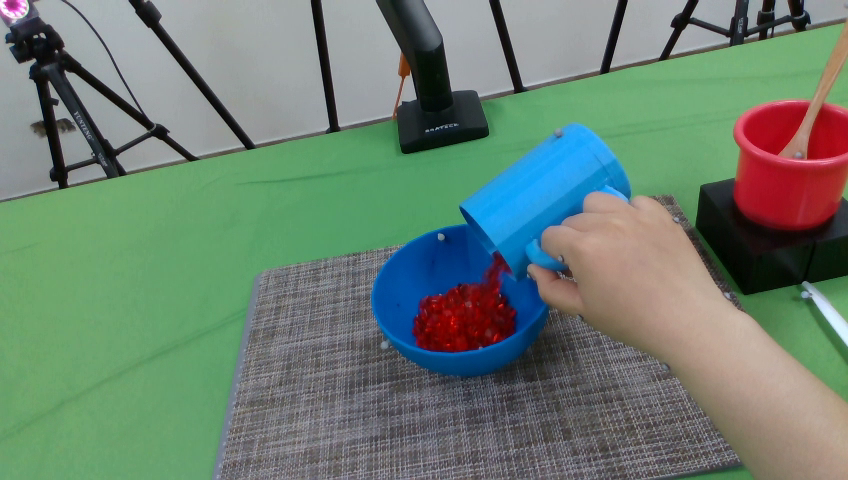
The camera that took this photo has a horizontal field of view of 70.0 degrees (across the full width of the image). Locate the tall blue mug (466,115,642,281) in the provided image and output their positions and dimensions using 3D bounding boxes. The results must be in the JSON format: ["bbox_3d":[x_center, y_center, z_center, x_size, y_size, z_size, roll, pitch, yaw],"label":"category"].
[{"bbox_3d":[0.100,-0.030,0.455,0.108,0.078,0.106,-44,12,-3],"label":"tall blue mug"}]

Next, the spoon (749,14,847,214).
[{"bbox_3d":[0.326,-0.112,0.504,0.041,0.022,0.194,27,99,40],"label":"spoon"}]

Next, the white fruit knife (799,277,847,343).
[{"bbox_3d":[0.334,0.097,0.444,0.027,0.016,0.205,10,36,-13],"label":"white fruit knife"}]

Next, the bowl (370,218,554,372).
[{"bbox_3d":[0.036,0.059,0.515,0.151,0.077,0.150,-8,41,7],"label":"bowl"}]
